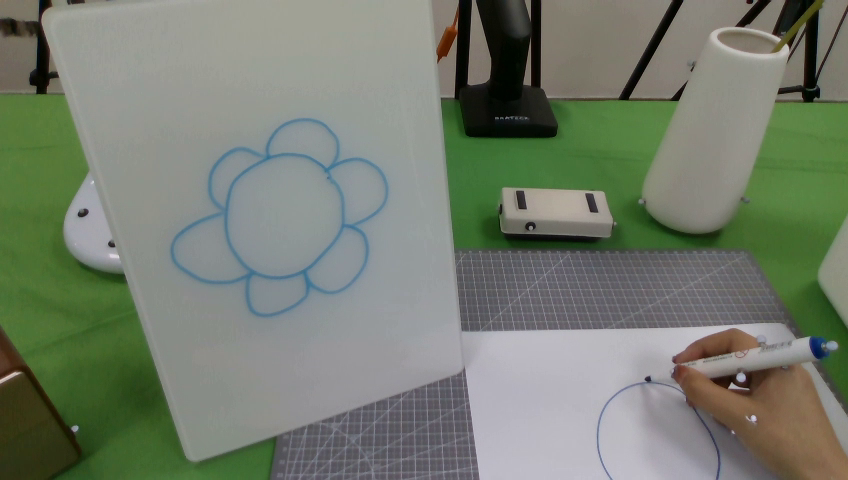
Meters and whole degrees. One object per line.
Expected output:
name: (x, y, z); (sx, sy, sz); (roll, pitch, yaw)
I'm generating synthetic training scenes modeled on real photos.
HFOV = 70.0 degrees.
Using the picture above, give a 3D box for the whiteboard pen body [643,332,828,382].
whiteboard pen body: (0.217, 0.089, 0.439); (0.017, 0.140, 0.017); (14, 63, -30)

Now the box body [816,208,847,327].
box body: (0.500, 0.087, 0.429); (0.254, 0.162, 0.360); (1, 41, -2)

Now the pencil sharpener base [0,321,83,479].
pencil sharpener base: (-0.286, 0.108, 0.399); (0.076, 0.108, 0.061); (34, 50, 31)

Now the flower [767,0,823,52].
flower: (0.302, -0.157, 0.541); (0.044, 0.363, 0.038); (-18, 63, -31)

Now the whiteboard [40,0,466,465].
whiteboard: (-0.105, -0.028, 0.458); (0.218, 0.307, 0.142); (-14, 25, -17)

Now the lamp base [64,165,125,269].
lamp base: (-0.282, -0.090, 0.569); (0.177, 0.182, 0.160); (28, 47, 29)

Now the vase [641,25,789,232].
vase: (0.289, -0.104, 0.606); (0.098, 0.201, 0.097); (2, 41, -2)

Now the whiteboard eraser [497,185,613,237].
whiteboard eraser: (0.134, -0.028, 0.630); (0.113, 0.042, 0.055); (1, 40, -1)
